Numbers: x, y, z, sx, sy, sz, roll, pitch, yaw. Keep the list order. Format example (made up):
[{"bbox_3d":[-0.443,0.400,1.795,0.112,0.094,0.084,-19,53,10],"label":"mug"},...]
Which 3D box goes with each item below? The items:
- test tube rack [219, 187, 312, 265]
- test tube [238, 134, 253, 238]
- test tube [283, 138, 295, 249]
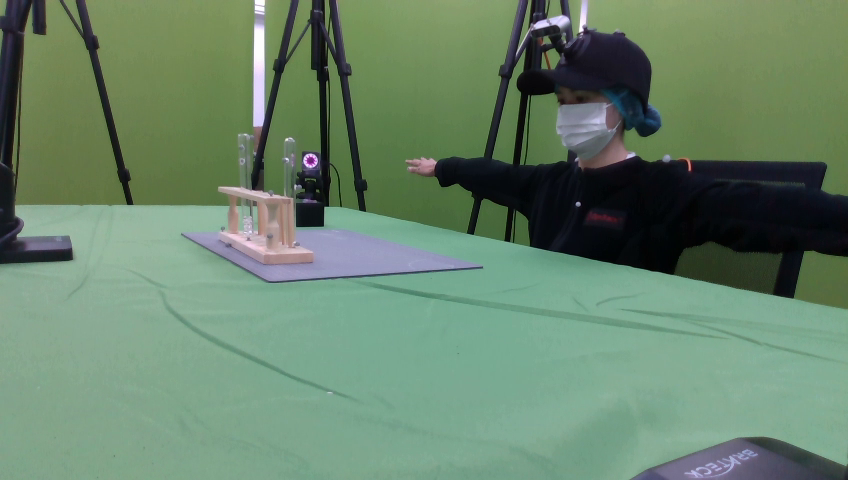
[{"bbox_3d":[-0.235,-0.027,0.872,0.067,0.085,0.241,-2,8,-31],"label":"test tube rack"},{"bbox_3d":[-0.258,-0.078,0.873,0.017,0.150,0.017,-1,5,0],"label":"test tube"},{"bbox_3d":[-0.182,-0.062,0.815,0.017,0.150,0.017,2,8,0],"label":"test tube"}]
